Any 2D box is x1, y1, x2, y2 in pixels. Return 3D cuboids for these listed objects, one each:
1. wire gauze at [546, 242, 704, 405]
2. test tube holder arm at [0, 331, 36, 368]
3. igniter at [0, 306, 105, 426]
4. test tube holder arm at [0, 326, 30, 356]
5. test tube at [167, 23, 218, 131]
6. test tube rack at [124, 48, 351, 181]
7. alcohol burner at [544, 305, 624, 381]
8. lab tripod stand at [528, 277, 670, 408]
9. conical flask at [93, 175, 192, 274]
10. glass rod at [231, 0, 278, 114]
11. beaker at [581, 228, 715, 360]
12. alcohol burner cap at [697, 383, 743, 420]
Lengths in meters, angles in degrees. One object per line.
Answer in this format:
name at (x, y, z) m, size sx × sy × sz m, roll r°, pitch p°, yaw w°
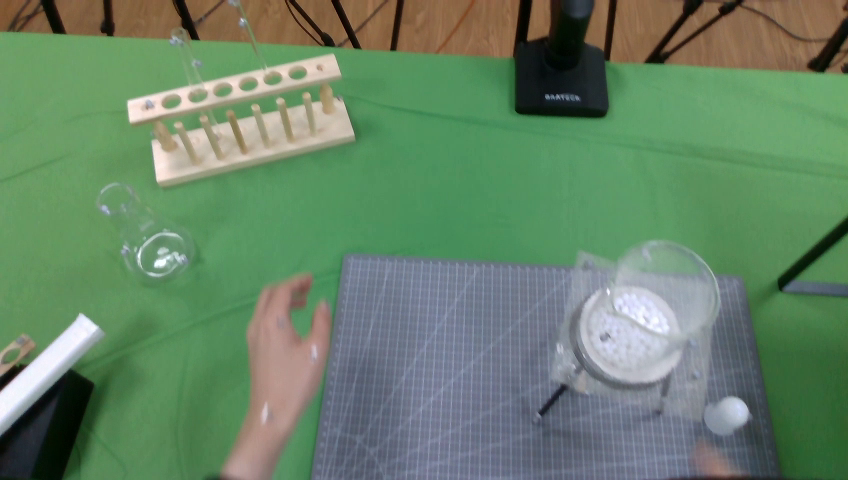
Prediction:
wire gauze at (0.175, 0.068, 0.514) m, size 0.121 × 0.011 × 0.124 m, roll 16°, pitch 62°, yaw 5°
test tube holder arm at (-0.407, 0.121, 0.571) m, size 0.010 × 0.015 × 0.087 m, roll 47°, pitch 69°, yaw -11°
igniter at (-0.407, 0.171, 0.542) m, size 0.057 × 0.025 × 0.276 m, roll 29°, pitch 65°, yaw 24°
test tube holder arm at (-0.439, 0.147, 0.553) m, size 0.013 × 0.015 × 0.178 m, roll 47°, pitch 69°, yaw -11°
test tube at (-0.261, -0.180, 0.690) m, size 0.017 × 0.151 × 0.017 m, roll 1°, pitch 56°, yaw -1°
test tube rack at (-0.218, -0.151, 0.731) m, size 0.243 × 0.086 × 0.066 m, roll -16°, pitch 63°, yaw -8°
alcohol burner at (0.159, 0.094, 0.586) m, size 0.078 × 0.120 × 0.077 m, roll 1°, pitch 61°, yaw -1°
lab tripod stand at (0.169, 0.102, 0.570) m, size 0.148 × 0.132 × 0.147 m, roll 1°, pitch 61°, yaw -1°
conical flask at (-0.303, -0.020, 0.642) m, size 0.075 × 0.123 × 0.074 m, roll 0°, pitch 62°, yaw 0°
glass rod at (-0.192, -0.212, 0.688) m, size 0.008 × 0.201 × 0.008 m, roll -3°, pitch 56°, yaw 5°
beaker at (0.164, 0.048, 0.469) m, size 0.084 × 0.101 × 0.073 m, roll -18°, pitch 64°, yaw -9°
alcohol burner cap at (0.293, 0.156, 0.594) m, size 0.034 × 0.048 × 0.033 m, roll 0°, pitch 63°, yaw 0°
